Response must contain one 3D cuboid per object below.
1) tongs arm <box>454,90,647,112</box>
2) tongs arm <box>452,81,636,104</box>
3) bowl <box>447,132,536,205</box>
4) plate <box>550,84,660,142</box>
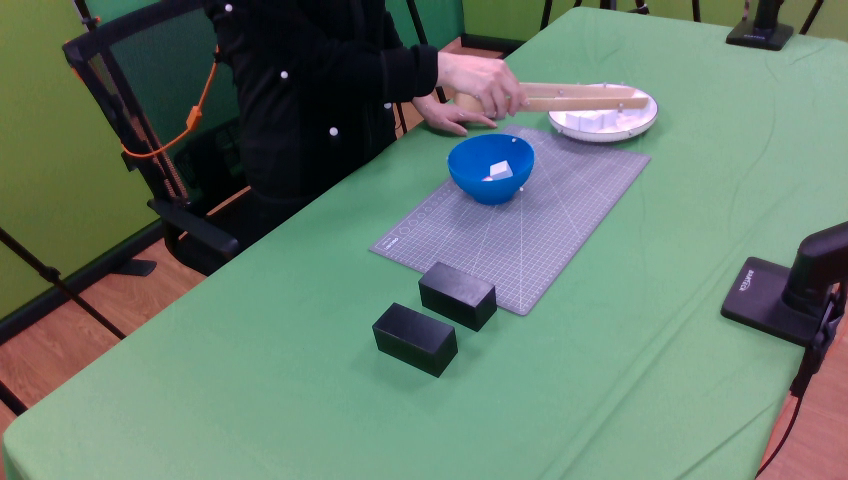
[{"bbox_3d":[0.233,-0.239,1.050,0.390,0.028,0.028,-5,48,-23],"label":"tongs arm"},{"bbox_3d":[0.224,-0.255,1.067,0.387,0.026,0.050,-2,43,-21],"label":"tongs arm"},{"bbox_3d":[0.119,-0.115,1.051,0.151,0.077,0.150,-6,40,5],"label":"bowl"},{"bbox_3d":[0.355,-0.246,1.195,0.207,0.039,0.206,-5,39,4],"label":"plate"}]
